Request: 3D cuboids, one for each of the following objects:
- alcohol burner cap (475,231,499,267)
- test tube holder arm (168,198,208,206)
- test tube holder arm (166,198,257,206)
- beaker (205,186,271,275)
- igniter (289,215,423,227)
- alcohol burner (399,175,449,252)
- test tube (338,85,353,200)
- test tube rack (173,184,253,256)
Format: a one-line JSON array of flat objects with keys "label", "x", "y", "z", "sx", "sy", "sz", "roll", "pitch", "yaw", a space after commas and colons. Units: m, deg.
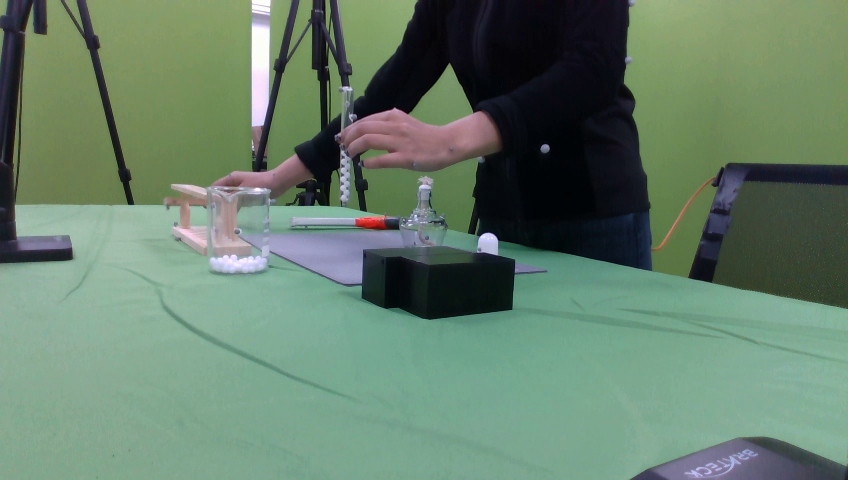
[{"label": "alcohol burner cap", "x": 0.088, "y": 0.012, "z": 0.830, "sx": 0.034, "sy": 0.048, "sz": 0.034, "roll": 2, "pitch": 6, "yaw": 0}, {"label": "test tube holder arm", "x": -0.428, "y": -0.071, "z": 1.119, "sx": 0.010, "sy": 0.015, "sz": 0.088, "roll": 1, "pitch": 3, "yaw": 43}, {"label": "test tube holder arm", "x": -0.401, "y": -0.073, "z": 1.156, "sx": 0.013, "sy": 0.015, "sz": 0.179, "roll": 1, "pitch": 3, "yaw": 43}, {"label": "beaker", "x": -0.221, "y": -0.011, "z": 0.717, "sx": 0.074, "sy": 0.100, "sz": 0.084, "roll": 1, "pitch": 8, "yaw": -3}, {"label": "igniter", "x": -0.133, "y": -0.038, "z": 1.232, "sx": 0.278, "sy": 0.025, "sz": 0.057, "roll": -1, "pitch": -1, "yaw": -25}, {"label": "alcohol burner", "x": -0.001, "y": -0.041, "z": 0.937, "sx": 0.078, "sy": 0.119, "sz": 0.078, "roll": 0, "pitch": 7, "yaw": 0}, {"label": "test tube", "x": -0.103, "y": -0.127, "z": 0.794, "sx": 0.017, "sy": 0.150, "sz": 0.017, "roll": 2, "pitch": 5, "yaw": 0}, {"label": "test tube rack", "x": -0.329, "y": -0.036, "z": 0.927, "sx": 0.067, "sy": 0.085, "sz": 0.241, "roll": -2, "pitch": 9, "yaw": -32}]
